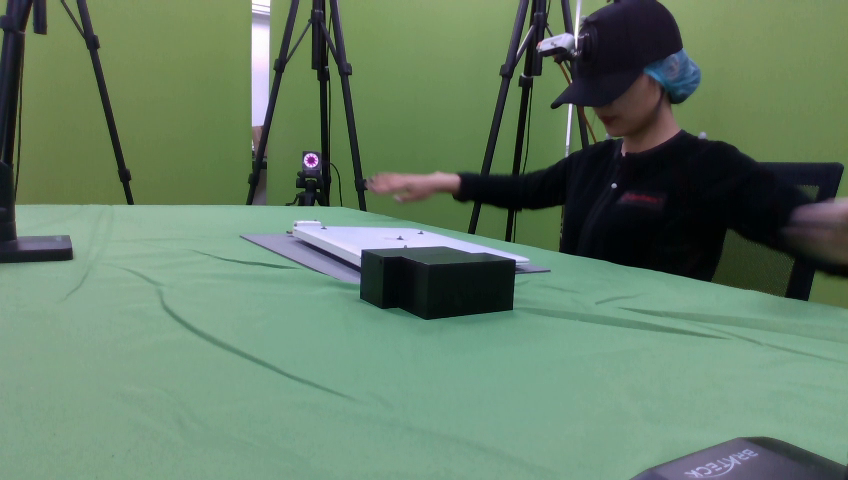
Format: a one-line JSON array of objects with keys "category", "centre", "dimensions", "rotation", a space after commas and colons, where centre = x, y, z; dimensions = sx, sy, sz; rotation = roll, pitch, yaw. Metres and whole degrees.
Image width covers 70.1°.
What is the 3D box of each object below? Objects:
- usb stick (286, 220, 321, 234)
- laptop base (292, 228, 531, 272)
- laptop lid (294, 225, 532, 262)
[{"category": "usb stick", "centre": [-0.211, -0.021, 1.055], "dimensions": [0.059, 0.027, 0.021], "rotation": [-6, 11, -33]}, {"category": "laptop base", "centre": [-0.038, 0.013, 0.894], "dimensions": [0.237, 0.023, 0.352], "rotation": [2, 6, -28]}, {"category": "laptop lid", "centre": [-0.035, 0.001, 0.894], "dimensions": [0.243, 0.013, 0.355], "rotation": [1, 7, -26]}]
